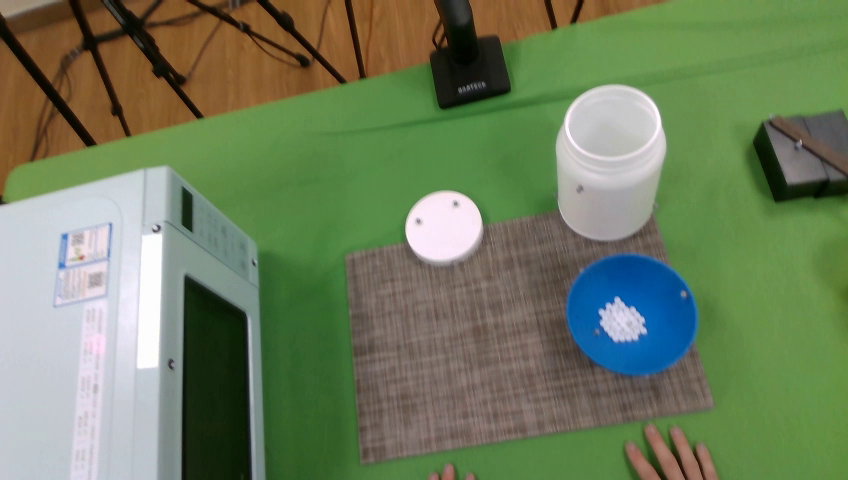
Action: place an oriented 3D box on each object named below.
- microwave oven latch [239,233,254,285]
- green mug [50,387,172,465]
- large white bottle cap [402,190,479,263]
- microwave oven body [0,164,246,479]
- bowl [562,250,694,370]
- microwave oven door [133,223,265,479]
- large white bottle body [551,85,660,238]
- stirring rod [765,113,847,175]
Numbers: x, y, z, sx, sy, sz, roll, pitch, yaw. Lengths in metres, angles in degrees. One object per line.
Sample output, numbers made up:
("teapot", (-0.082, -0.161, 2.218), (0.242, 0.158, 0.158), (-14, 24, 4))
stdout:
("microwave oven latch", (-0.273, 0.030, 0.906), (0.030, 0.030, 0.078), (-13, 66, 6))
("green mug", (-0.383, 0.226, 0.762), (0.125, 0.106, 0.091), (-23, 67, -4))
("large white bottle cap", (0.024, -0.021, 0.892), (0.114, 0.018, 0.114), (-4, 66, 10))
("microwave oven body", (-0.409, 0.182, 0.762), (0.326, 0.262, 0.438), (-13, 66, 6))
("bowl", (0.249, 0.096, 0.760), (0.151, 0.077, 0.150), (-5, 66, 11))
("microwave oven door", (-0.262, 0.185, 0.724), (0.039, 0.246, 0.352), (-13, 65, 7))
("large white bottle body", (0.232, -0.099, 0.788), (0.130, 0.186, 0.129), (-5, 62, 10))
("stirring rod", (0.516, -0.110, 0.776), (0.174, 0.006, 0.014), (45, 117, 24))
